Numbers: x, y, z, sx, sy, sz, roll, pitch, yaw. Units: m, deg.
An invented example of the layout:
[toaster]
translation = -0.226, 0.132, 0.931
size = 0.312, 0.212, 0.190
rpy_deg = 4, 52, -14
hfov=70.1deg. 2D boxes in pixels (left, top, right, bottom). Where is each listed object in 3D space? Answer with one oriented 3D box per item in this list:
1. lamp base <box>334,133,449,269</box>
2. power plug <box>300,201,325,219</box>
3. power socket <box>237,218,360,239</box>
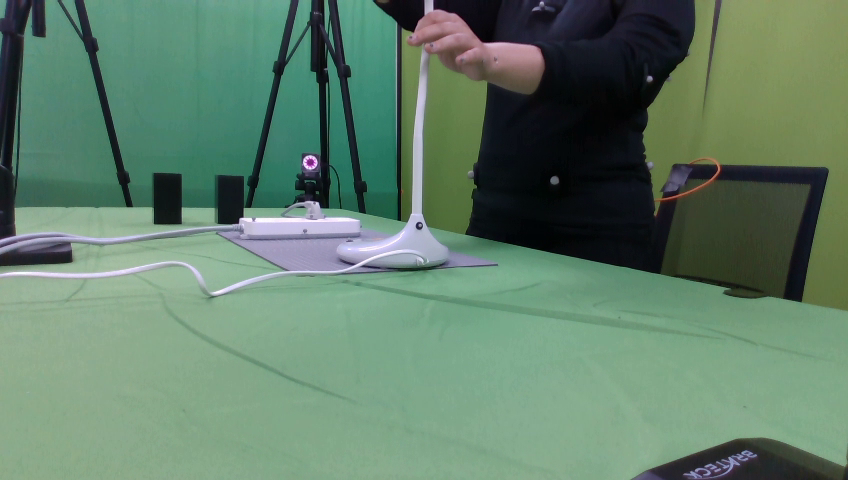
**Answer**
[lamp base]
translation = -0.034, -0.057, 0.830
size = 0.161, 0.180, 0.178
rpy_deg = -3, 12, -36
[power plug]
translation = -0.207, -0.046, 1.120
size = 0.035, 0.052, 0.072
rpy_deg = 1, 4, -21
[power socket]
translation = -0.220, -0.023, 1.080
size = 0.228, 0.032, 0.072
rpy_deg = -2, 8, -33
